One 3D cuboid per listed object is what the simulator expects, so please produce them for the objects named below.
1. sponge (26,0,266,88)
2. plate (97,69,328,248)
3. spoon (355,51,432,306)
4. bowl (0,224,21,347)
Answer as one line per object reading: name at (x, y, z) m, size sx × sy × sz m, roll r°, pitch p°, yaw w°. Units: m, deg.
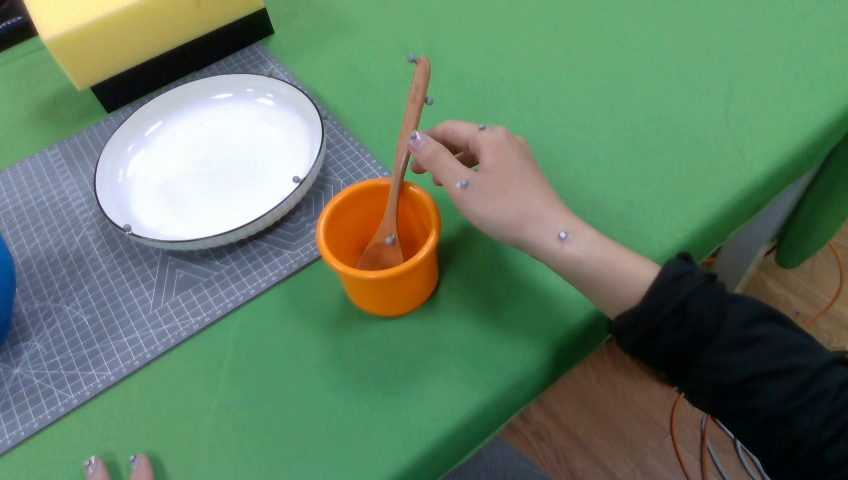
sponge at (-0.285, -0.252, 0.622) m, size 0.207 × 0.061 × 0.117 m, roll -32°, pitch 58°, yaw -16°
plate at (-0.190, -0.075, 0.559) m, size 0.209 × 0.038 × 0.207 m, roll -3°, pitch 56°, yaw 4°
spoon at (-0.018, -0.043, 0.455) m, size 0.041 × 0.194 × 0.021 m, roll 17°, pitch 15°, yaw 17°
bowl at (-0.377, 0.052, 0.468) m, size 0.151 × 0.077 × 0.150 m, roll -3°, pitch 55°, yaw 5°
